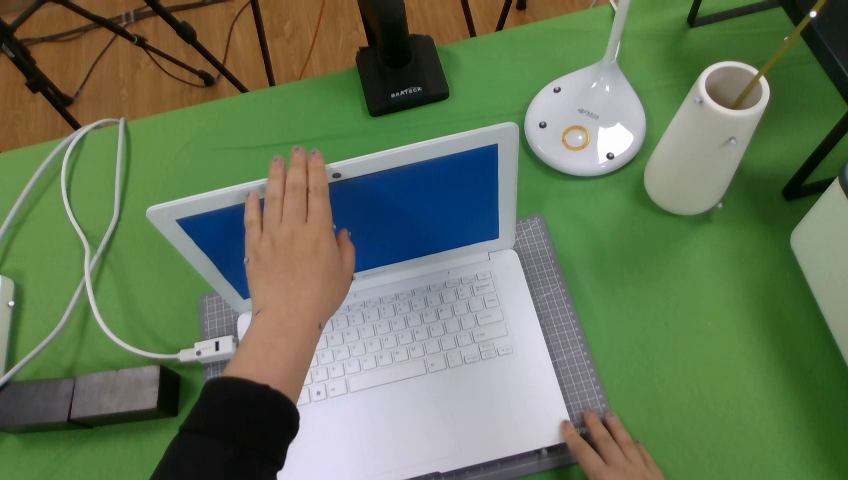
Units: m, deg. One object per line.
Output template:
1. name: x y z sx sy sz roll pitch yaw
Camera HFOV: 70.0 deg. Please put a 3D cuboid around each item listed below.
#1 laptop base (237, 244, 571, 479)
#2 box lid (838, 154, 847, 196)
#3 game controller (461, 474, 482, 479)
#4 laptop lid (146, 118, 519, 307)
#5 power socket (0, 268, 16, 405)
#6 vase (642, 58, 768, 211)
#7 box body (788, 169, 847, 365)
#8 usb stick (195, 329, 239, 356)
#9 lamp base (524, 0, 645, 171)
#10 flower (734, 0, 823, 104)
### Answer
1. laptop base: -0.033 0.147 0.703 0.354 0.023 0.233 -13 68 -1
2. box lid: 0.566 0.047 0.533 0.263 0.015 0.368 -11 65 -1
3. game controller: 0.025 0.307 0.610 0.155 0.052 0.096 -27 62 -8
4. laptop lid: -0.072 -0.015 0.648 0.357 0.244 0.013 -14 60 0
5. power socket: -0.556 0.135 0.747 0.072 0.033 0.224 -10 65 -1
6. vase: 0.315 -0.114 0.691 0.098 0.201 0.097 -3 64 6
7. box body: 0.573 0.081 0.600 0.254 0.161 0.361 -12 65 0
8. usb stick: -0.238 0.121 0.718 0.059 0.027 0.021 -10 65 -5
9. lamp base: 0.213 -0.206 0.753 0.160 0.182 0.178 18 66 13
10. flower: 0.327 -0.153 0.617 0.038 0.364 0.043 3 55 -12
